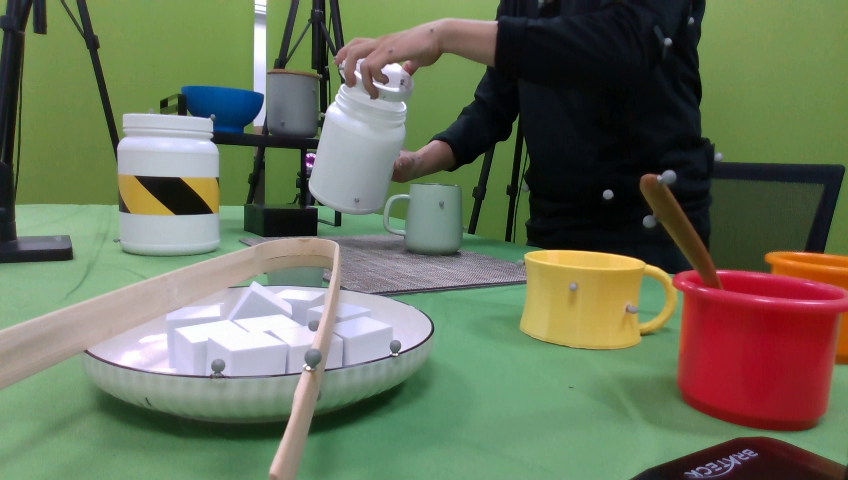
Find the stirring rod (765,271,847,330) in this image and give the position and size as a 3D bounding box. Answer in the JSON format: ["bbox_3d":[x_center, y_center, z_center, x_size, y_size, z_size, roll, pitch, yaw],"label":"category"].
[{"bbox_3d":[0.352,0.020,0.481,0.176,0.006,0.014,-40,-8,17],"label":"stirring rod"}]

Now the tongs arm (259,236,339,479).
[{"bbox_3d":[-0.074,0.040,0.345,0.051,0.026,0.384,-2,9,-3],"label":"tongs arm"}]

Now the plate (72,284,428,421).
[{"bbox_3d":[-0.102,0.066,0.381,0.208,0.039,0.207,3,7,0],"label":"plate"}]

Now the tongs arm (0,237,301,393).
[{"bbox_3d":[-0.158,0.038,0.346,0.028,0.028,0.388,-3,8,11],"label":"tongs arm"}]

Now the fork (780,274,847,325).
[{"bbox_3d":[0.332,0.018,0.443,0.028,0.018,0.207,-3,-35,-16],"label":"fork"}]

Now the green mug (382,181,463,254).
[{"bbox_3d":[-0.001,-0.036,0.922,0.126,0.105,0.092,0,8,-16],"label":"green mug"}]

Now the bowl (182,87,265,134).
[{"bbox_3d":[-0.383,-0.244,1.158,0.151,0.077,0.151,2,7,0],"label":"bowl"}]

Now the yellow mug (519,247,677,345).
[{"bbox_3d":[0.148,0.045,0.513,0.131,0.064,0.100,3,7,0],"label":"yellow mug"}]

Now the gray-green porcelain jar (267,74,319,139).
[{"bbox_3d":[-0.277,-0.279,1.280,0.106,0.126,0.106,2,7,0],"label":"gray-green porcelain jar"}]

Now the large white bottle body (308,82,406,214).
[{"bbox_3d":[-0.107,-0.150,0.986,0.131,0.184,0.130,16,28,-8],"label":"large white bottle body"}]

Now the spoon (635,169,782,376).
[{"bbox_3d":[0.161,0.026,0.346,0.041,0.194,0.021,10,56,53],"label":"spoon"}]

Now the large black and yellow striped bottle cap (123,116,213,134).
[{"bbox_3d":[-0.353,-0.159,0.838,0.115,0.019,0.115,2,6,0],"label":"large black and yellow striped bottle cap"}]

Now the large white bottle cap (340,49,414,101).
[{"bbox_3d":[-0.070,-0.249,0.910,0.115,0.018,0.114,18,38,-14],"label":"large white bottle cap"}]

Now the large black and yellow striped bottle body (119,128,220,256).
[{"bbox_3d":[-0.355,-0.076,0.850,0.131,0.184,0.130,2,8,0],"label":"large black and yellow striped bottle body"}]

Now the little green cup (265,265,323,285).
[{"bbox_3d":[-0.134,0.034,0.627,0.061,0.038,0.061,3,6,0],"label":"little green cup"}]

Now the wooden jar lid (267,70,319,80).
[{"bbox_3d":[-0.275,-0.340,1.271,0.108,0.020,0.108,5,6,0],"label":"wooden jar lid"}]
